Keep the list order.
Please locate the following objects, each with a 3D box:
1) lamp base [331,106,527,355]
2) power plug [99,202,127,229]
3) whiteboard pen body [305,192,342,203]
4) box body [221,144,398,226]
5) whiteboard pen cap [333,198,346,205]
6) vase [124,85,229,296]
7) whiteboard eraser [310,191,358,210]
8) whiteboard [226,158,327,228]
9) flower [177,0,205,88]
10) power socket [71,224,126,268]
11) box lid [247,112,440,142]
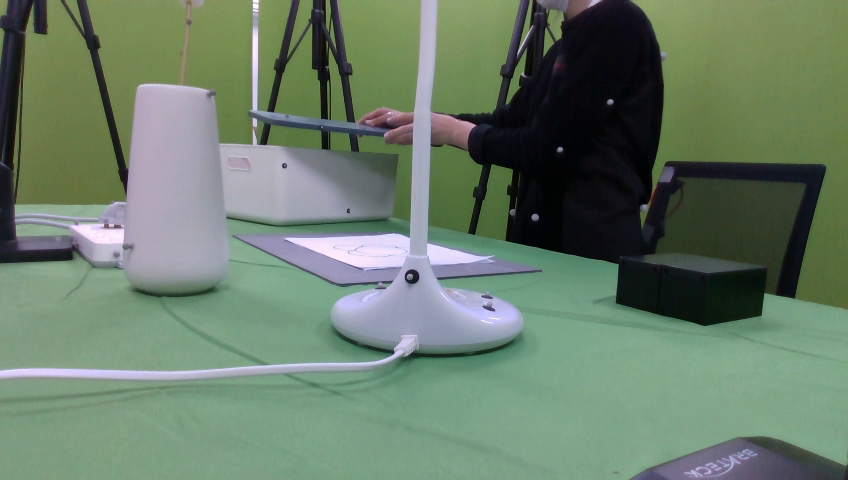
[{"bbox_3d":[0.006,-0.012,0.478,0.161,0.180,0.179,2,10,2],"label":"lamp base"},{"bbox_3d":[-0.415,-0.026,0.848,0.073,0.052,0.035,6,5,-28],"label":"power plug"},{"bbox_3d":[-0.237,-0.099,1.429,0.140,0.017,0.017,13,13,44],"label":"whiteboard pen body"},{"bbox_3d":[-0.264,-0.129,1.380,0.253,0.160,0.366,8,9,39],"label":"box body"},{"bbox_3d":[-0.195,-0.089,1.390,0.033,0.018,0.018,7,8,43],"label":"whiteboard pen cap"},{"bbox_3d":[-0.244,-0.047,0.598,0.098,0.200,0.098,3,8,0],"label":"vase"},{"bbox_3d":[-0.226,-0.097,1.513,0.112,0.042,0.056,7,16,28],"label":"whiteboard eraser"},{"bbox_3d":[-0.276,-0.119,1.376,0.216,0.143,0.307,7,10,39],"label":"whiteboard"},{"bbox_3d":[-0.243,-0.131,0.609,0.044,0.361,0.038,-5,-12,10],"label":"flower"},{"bbox_3d":[-0.409,0.004,0.793,0.072,0.032,0.225,-2,8,-37],"label":"power socket"},{"bbox_3d":[-0.178,-0.244,1.313,0.373,0.015,0.262,1,14,-30],"label":"box lid"}]
